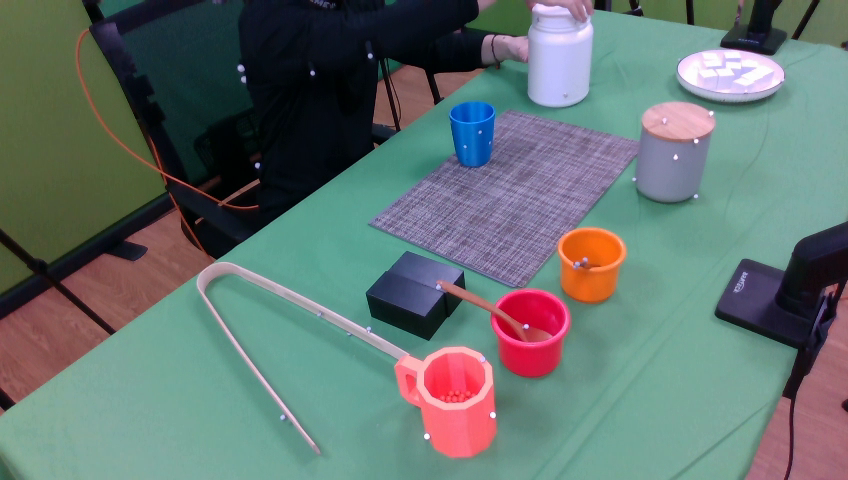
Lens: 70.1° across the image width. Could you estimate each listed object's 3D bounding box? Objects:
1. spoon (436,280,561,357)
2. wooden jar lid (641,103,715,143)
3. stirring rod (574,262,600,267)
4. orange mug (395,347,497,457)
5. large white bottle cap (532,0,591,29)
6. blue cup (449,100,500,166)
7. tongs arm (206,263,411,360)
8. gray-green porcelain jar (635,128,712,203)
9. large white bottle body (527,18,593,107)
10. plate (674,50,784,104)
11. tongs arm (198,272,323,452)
[{"bbox_3d":[0.096,0.095,0.757,0.195,0.021,0.041,34,41,-20],"label":"spoon"},{"bbox_3d":[0.398,-0.180,0.952,0.108,0.021,0.108,-4,43,4],"label":"wooden jar lid"},{"bbox_3d":[0.222,0.033,0.816,0.014,0.006,0.177,7,0,22],"label":"stirring rod"},{"bbox_3d":[0.024,0.181,0.703,0.125,0.101,0.083,20,48,23],"label":"orange mug"},{"bbox_3d":[0.272,-0.451,1.202,0.115,0.018,0.114,-4,42,4],"label":"large white bottle cap"},{"bbox_3d":[0.092,-0.194,1.123,0.092,0.100,0.092,-3,40,3],"label":"blue cup"},{"bbox_3d":[-0.179,0.106,0.870,0.381,0.026,0.051,23,53,32],"label":"tongs arm"},{"bbox_3d":[0.404,-0.133,0.992,0.106,0.127,0.105,-4,40,4],"label":"gray-green porcelain jar"},{"bbox_3d":[0.282,-0.386,1.259,0.130,0.185,0.130,-4,41,4],"label":"large white bottle body"},{"bbox_3d":[0.631,-0.336,1.262,0.207,0.039,0.206,-4,41,4],"label":"plate"},{"bbox_3d":[-0.236,0.153,0.830,0.028,0.028,0.384,-36,47,-19],"label":"tongs arm"}]
